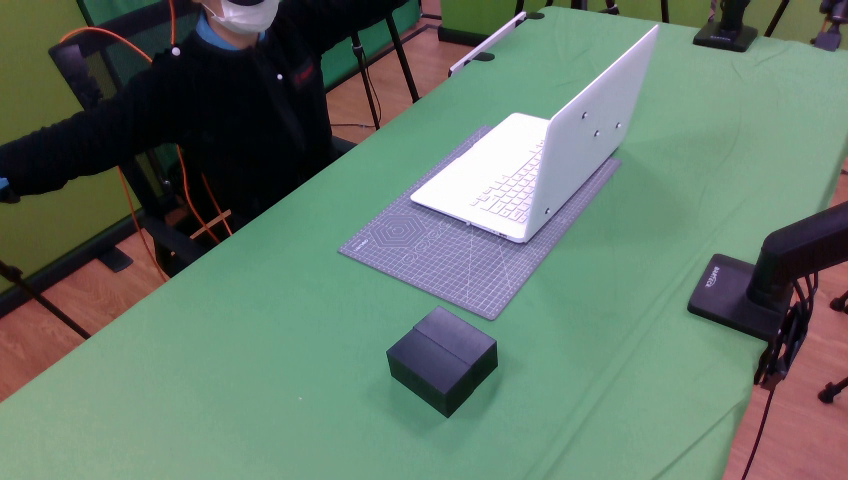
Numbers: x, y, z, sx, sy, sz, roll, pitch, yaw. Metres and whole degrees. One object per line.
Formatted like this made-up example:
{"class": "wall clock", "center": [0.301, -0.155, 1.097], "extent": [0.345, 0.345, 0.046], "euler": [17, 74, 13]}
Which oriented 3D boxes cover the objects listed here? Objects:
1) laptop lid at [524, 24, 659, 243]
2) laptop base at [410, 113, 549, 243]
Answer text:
{"class": "laptop lid", "center": [0.266, -0.170, 0.949], "extent": [0.013, 0.242, 0.358], "euler": [30, 50, 25]}
{"class": "laptop base", "center": [0.171, -0.126, 1.096], "extent": [0.233, 0.023, 0.355], "euler": [21, 47, 33]}
